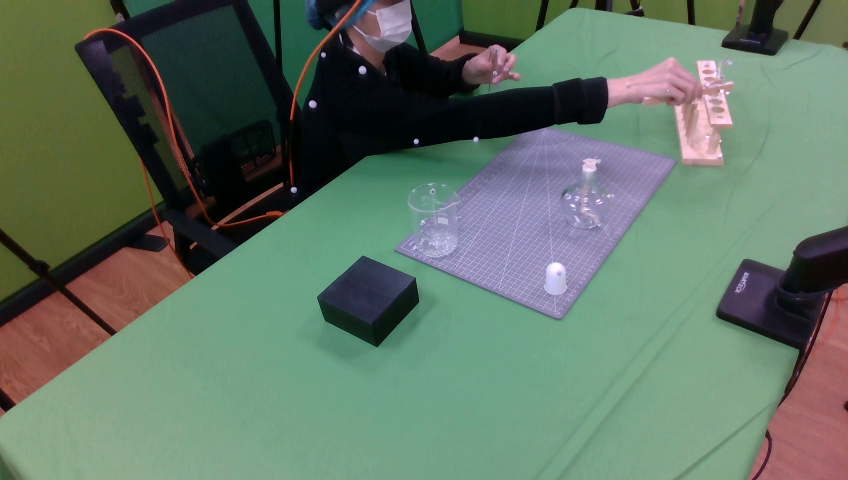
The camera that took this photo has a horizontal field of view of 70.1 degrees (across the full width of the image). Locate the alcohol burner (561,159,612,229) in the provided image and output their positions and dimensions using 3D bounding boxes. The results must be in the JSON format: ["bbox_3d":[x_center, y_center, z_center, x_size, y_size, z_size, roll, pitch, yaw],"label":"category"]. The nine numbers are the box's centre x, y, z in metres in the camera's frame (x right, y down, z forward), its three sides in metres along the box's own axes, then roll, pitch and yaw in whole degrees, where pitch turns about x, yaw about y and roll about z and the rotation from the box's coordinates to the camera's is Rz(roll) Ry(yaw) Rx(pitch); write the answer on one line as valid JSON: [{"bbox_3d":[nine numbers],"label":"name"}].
[{"bbox_3d":[0.257,-0.077,0.951,0.078,0.119,0.077,-3,40,3],"label":"alcohol burner"}]

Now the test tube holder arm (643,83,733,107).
[{"bbox_3d":[0.448,-0.246,1.023,0.179,0.015,0.013,-14,36,-17],"label":"test tube holder arm"}]

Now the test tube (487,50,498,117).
[{"bbox_3d":[0.135,-0.305,1.190,0.017,0.151,0.017,-1,49,2],"label":"test tube"}]

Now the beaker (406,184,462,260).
[{"bbox_3d":[0.020,-0.026,0.939,0.084,0.101,0.074,1,41,10],"label":"beaker"}]

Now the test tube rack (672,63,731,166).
[{"bbox_3d":[0.513,-0.240,1.132,0.066,0.085,0.242,4,41,14],"label":"test tube rack"}]

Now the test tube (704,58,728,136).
[{"bbox_3d":[0.513,-0.248,1.063,0.017,0.151,0.017,-6,42,6],"label":"test tube"}]

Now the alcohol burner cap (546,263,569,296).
[{"bbox_3d":[0.191,0.053,0.862,0.034,0.048,0.033,-5,40,4],"label":"alcohol burner cap"}]

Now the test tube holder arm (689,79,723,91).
[{"bbox_3d":[0.485,-0.261,1.043,0.088,0.015,0.010,-23,40,-28],"label":"test tube holder arm"}]
